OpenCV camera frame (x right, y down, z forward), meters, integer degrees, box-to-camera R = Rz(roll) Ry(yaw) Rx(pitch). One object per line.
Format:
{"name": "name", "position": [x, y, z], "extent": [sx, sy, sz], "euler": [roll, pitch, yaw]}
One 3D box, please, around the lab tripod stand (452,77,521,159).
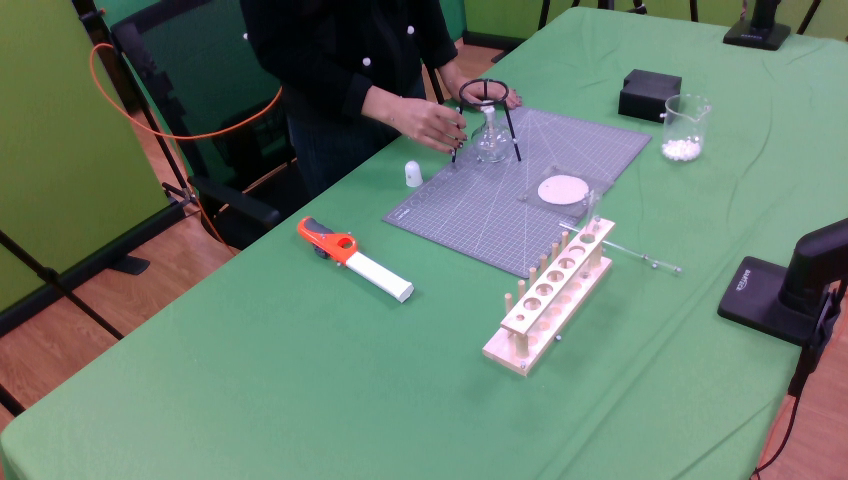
{"name": "lab tripod stand", "position": [0.117, -0.223, 1.124], "extent": [0.148, 0.132, 0.147], "euler": [-2, 43, 3]}

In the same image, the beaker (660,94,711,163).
{"name": "beaker", "position": [0.457, -0.192, 1.063], "extent": [0.074, 0.101, 0.083], "euler": [-7, 41, 4]}

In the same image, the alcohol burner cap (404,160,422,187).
{"name": "alcohol burner cap", "position": [-0.022, -0.125, 1.118], "extent": [0.034, 0.048, 0.033], "euler": [-4, 40, 4]}

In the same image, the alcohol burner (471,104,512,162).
{"name": "alcohol burner", "position": [0.125, -0.207, 1.126], "extent": [0.078, 0.119, 0.077], "euler": [-5, 43, 5]}

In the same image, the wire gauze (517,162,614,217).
{"name": "wire gauze", "position": [0.245, -0.088, 1.046], "extent": [0.120, 0.011, 0.125], "euler": [25, 50, 32]}

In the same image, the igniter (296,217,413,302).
{"name": "igniter", "position": [-0.121, 0.025, 0.970], "extent": [0.274, 0.025, 0.057], "euler": [29, 63, 37]}

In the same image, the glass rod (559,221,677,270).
{"name": "glass rod", "position": [0.292, 0.007, 0.927], "extent": [0.198, 0.008, 0.008], "euler": [26, 52, 36]}

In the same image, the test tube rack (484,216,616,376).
{"name": "test tube rack", "position": [0.174, 0.064, 0.823], "extent": [0.066, 0.085, 0.243], "euler": [23, 49, 32]}

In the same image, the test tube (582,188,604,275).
{"name": "test tube", "position": [0.229, -0.007, 0.822], "extent": [0.017, 0.151, 0.017], "euler": [-3, 42, 3]}
